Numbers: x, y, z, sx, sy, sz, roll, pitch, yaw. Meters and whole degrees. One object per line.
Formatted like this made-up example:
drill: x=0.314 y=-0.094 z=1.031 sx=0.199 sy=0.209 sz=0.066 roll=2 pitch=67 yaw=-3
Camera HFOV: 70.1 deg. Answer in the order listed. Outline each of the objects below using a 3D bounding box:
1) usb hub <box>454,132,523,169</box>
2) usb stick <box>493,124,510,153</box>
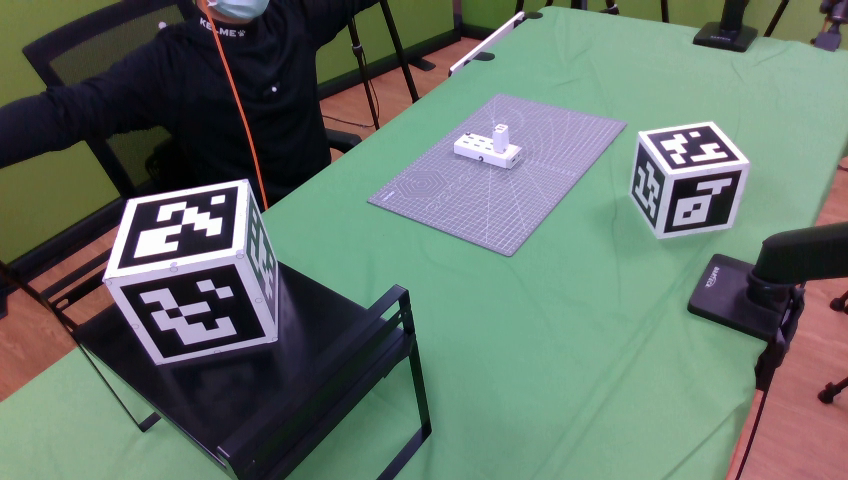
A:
usb hub: x=0.121 y=-0.170 z=1.144 sx=0.124 sy=0.025 sz=0.049 roll=22 pitch=48 yaw=29
usb stick: x=0.142 y=-0.180 z=1.107 sx=0.021 sy=0.059 sz=0.027 roll=18 pitch=46 yaw=29
